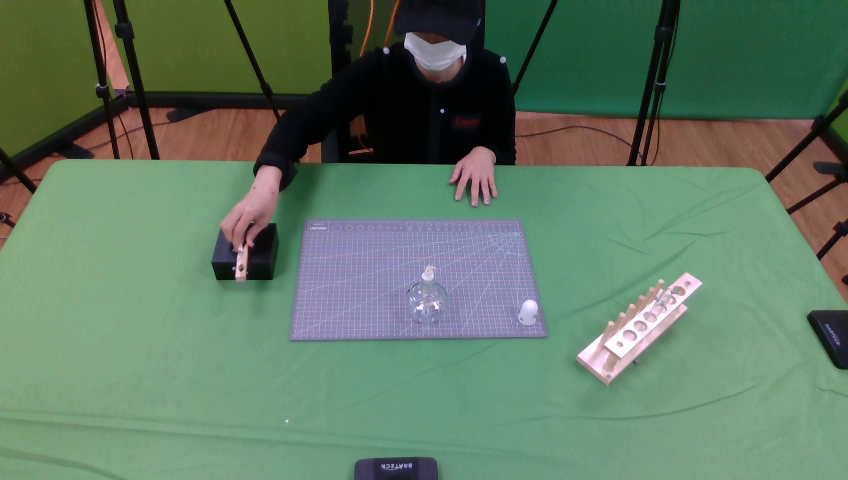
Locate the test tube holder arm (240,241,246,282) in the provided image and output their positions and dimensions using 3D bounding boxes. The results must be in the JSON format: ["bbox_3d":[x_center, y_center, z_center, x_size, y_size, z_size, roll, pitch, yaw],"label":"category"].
[{"bbox_3d":[-0.320,0.037,1.072,0.010,0.015,0.087,3,44,-18],"label":"test tube holder arm"}]

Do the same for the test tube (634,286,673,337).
[{"bbox_3d":[0.374,0.123,0.993,0.017,0.151,0.017,2,52,-2],"label":"test tube"}]

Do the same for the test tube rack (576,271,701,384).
[{"bbox_3d":[0.373,0.138,1.047,0.242,0.085,0.066,-31,56,-29],"label":"test tube rack"}]

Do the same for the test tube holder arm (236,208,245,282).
[{"bbox_3d":[-0.334,0.005,1.101,0.013,0.015,0.177,3,44,-18],"label":"test tube holder arm"}]

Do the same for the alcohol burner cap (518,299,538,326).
[{"bbox_3d":[0.186,0.126,1.072,0.034,0.048,0.033,2,45,-1],"label":"alcohol burner cap"}]

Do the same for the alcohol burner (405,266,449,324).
[{"bbox_3d":[0.005,0.089,1.043,0.078,0.120,0.077,1,44,-1],"label":"alcohol burner"}]
